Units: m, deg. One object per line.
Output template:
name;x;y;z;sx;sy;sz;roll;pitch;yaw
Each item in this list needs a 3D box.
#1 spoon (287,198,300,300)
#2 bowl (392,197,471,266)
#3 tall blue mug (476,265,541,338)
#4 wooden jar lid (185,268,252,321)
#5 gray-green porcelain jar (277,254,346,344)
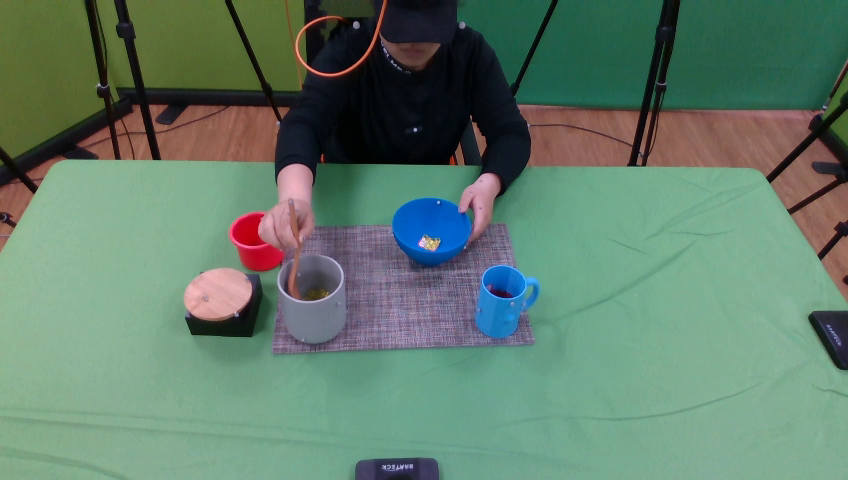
spoon;-0.207;0.022;0.961;0.021;0.194;0.041;5;27;-4
bowl;0.012;-0.004;1.159;0.151;0.077;0.150;2;46;-2
tall blue mug;0.142;0.099;1.047;0.077;0.108;0.107;33;52;27
wooden jar lid;-0.343;0.093;1.015;0.108;0.021;0.107;3;46;-3
gray-green porcelain jar;-0.184;0.102;1.008;0.106;0.127;0.105;2;46;-2
